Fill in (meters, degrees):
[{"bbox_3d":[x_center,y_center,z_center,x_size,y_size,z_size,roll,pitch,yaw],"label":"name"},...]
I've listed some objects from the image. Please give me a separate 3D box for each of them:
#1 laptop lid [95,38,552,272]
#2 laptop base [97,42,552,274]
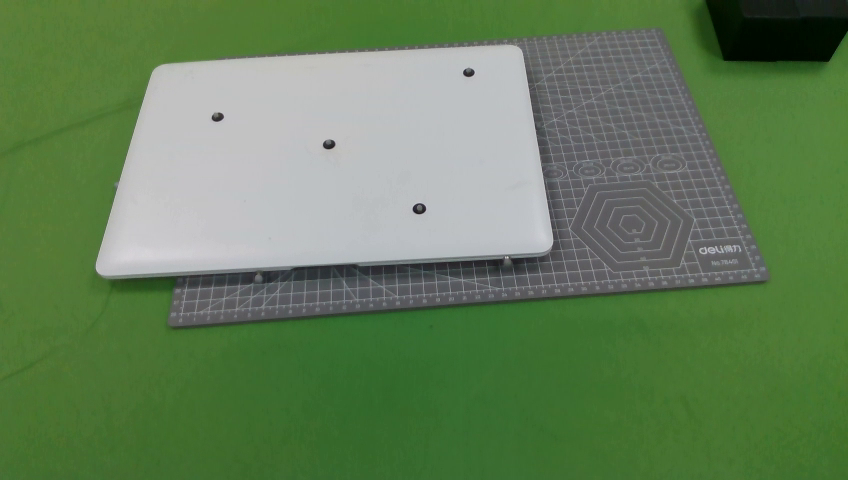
[{"bbox_3d":[-0.081,-0.083,0.515,0.357,0.013,0.239,-2,59,2],"label":"laptop lid"},{"bbox_3d":[-0.081,-0.078,0.527,0.354,0.023,0.233,-3,60,1],"label":"laptop base"}]
